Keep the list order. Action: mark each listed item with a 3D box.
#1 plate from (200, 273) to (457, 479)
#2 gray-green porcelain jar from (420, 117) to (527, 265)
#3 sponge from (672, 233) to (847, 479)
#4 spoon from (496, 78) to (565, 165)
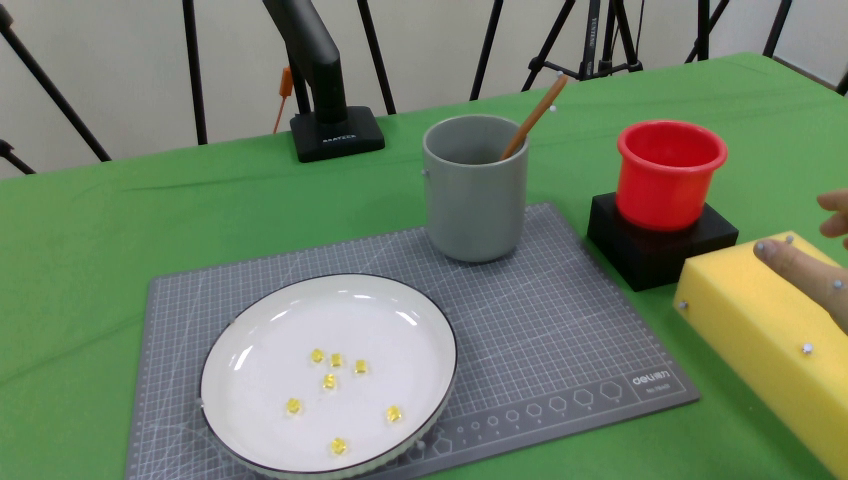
[{"bbox_3d":[-0.076,0.109,0.506,0.207,0.039,0.205,-2,38,2],"label":"plate"},{"bbox_3d":[0.051,-0.046,0.623,0.106,0.127,0.105,-2,38,2],"label":"gray-green porcelain jar"},{"bbox_3d":[0.321,0.086,0.494,0.118,0.061,0.204,-14,39,-14],"label":"sponge"},{"bbox_3d":[0.080,-0.075,0.598,0.022,0.194,0.041,21,30,-14],"label":"spoon"}]
